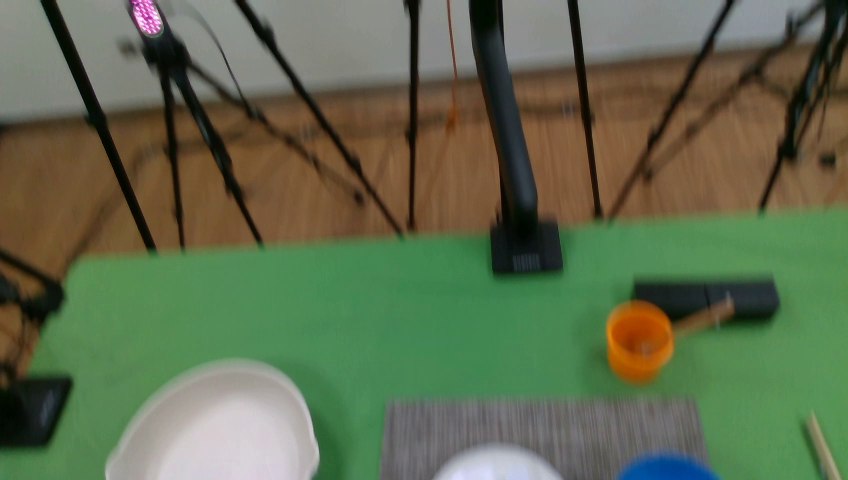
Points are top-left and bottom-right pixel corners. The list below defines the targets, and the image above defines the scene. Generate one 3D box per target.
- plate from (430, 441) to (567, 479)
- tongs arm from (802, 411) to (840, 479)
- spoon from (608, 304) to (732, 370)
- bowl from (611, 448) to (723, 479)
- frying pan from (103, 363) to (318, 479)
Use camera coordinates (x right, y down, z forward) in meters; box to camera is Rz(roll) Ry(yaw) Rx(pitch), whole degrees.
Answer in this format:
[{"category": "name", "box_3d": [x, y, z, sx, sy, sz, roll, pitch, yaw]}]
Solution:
[{"category": "plate", "box_3d": [0.097, 0.366, 0.778, 0.207, 0.039, 0.205, -5, 52, 6]}, {"category": "tongs arm", "box_3d": [0.532, 0.385, 0.703, 0.028, 0.028, 0.383, -6, 52, 2]}, {"category": "spoon", "box_3d": [0.341, 0.136, 0.851, 0.022, 0.194, 0.041, 20, 48, -31]}, {"category": "bowl", "box_3d": [0.295, 0.341, 0.738, 0.151, 0.077, 0.150, -4, 52, 6]}, {"category": "frying pan", "box_3d": [-0.296, 0.391, 0.784, 0.306, 0.104, 0.483, -5, 43, 7]}]
